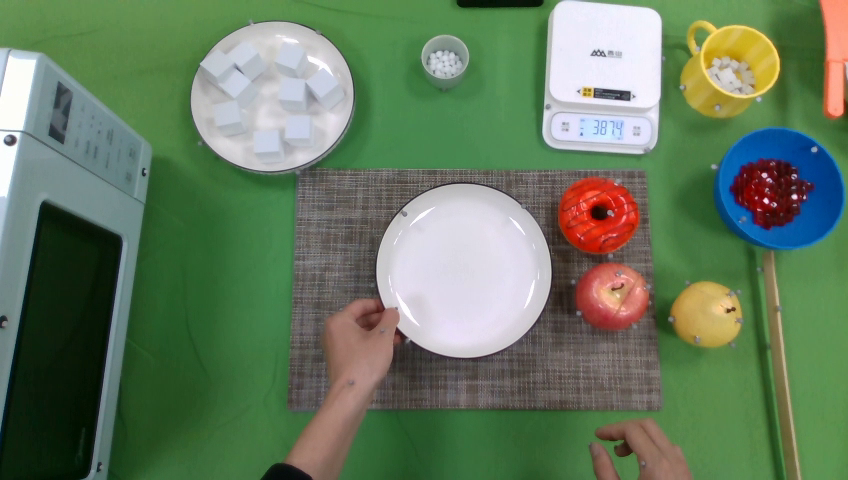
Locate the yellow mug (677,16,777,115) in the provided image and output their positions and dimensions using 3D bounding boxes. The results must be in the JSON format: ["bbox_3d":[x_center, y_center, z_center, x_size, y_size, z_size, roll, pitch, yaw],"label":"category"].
[{"bbox_3d":[0.381,-0.234,0.784,0.100,0.064,0.130,-32,80,-6],"label":"yellow mug"}]

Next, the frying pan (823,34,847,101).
[{"bbox_3d":[0.705,-0.170,0.756,0.307,0.103,0.484,-26,72,-4],"label":"frying pan"}]

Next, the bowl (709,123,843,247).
[{"bbox_3d":[0.415,-0.059,0.745,0.151,0.077,0.151,0,80,0],"label":"bowl"}]

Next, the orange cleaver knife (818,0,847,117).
[{"bbox_3d":[0.522,-0.253,0.752,0.077,0.012,0.210,5,80,3],"label":"orange cleaver knife"}]

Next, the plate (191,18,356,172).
[{"bbox_3d":[-0.191,-0.184,0.783,0.208,0.039,0.206,0,79,-1],"label":"plate"}]

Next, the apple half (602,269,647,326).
[{"bbox_3d":[0.240,0.075,0.715,0.032,0.081,0.081,33,80,9],"label":"apple half"}]

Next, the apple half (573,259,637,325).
[{"bbox_3d":[0.207,0.056,0.719,0.053,0.075,0.080,33,83,9],"label":"apple half"}]

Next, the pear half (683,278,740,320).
[{"bbox_3d":[0.344,0.064,0.715,0.070,0.088,0.031,30,81,8],"label":"pear half"}]

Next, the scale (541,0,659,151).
[{"bbox_3d":[0.232,-0.219,0.797,0.149,0.031,0.200,4,80,1],"label":"scale"}]

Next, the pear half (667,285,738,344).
[{"bbox_3d":[0.323,0.090,0.699,0.076,0.110,0.056,31,80,10],"label":"pear half"}]

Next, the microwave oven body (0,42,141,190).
[{"bbox_3d":[-0.515,0.052,0.617,0.326,0.261,0.440,3,80,0],"label":"microwave oven body"}]

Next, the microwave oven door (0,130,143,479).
[{"bbox_3d":[-0.371,0.100,0.604,0.039,0.244,0.354,2,79,0],"label":"microwave oven door"}]

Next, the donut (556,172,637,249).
[{"bbox_3d":[0.213,-0.037,0.752,0.099,0.048,0.098,0,80,2],"label":"donut"}]

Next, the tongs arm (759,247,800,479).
[{"bbox_3d":[0.443,0.198,0.718,0.051,0.026,0.383,0,80,-4],"label":"tongs arm"}]

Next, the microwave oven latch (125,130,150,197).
[{"bbox_3d":[-0.358,-0.095,0.745,0.030,0.029,0.079,5,80,0],"label":"microwave oven latch"}]

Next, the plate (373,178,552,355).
[{"bbox_3d":[0.045,0.031,0.714,0.209,0.038,0.208,0,81,-2],"label":"plate"}]

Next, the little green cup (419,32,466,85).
[{"bbox_3d":[0.024,-0.236,0.795,0.061,0.039,0.061,0,79,0],"label":"little green cup"}]
